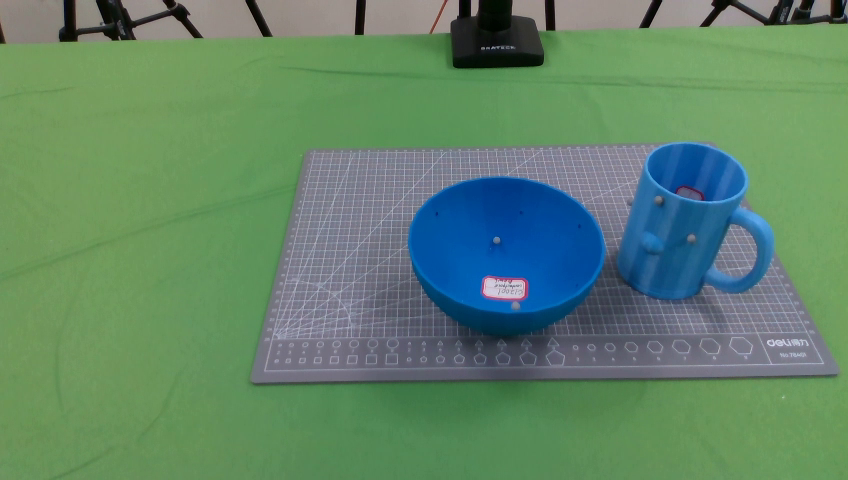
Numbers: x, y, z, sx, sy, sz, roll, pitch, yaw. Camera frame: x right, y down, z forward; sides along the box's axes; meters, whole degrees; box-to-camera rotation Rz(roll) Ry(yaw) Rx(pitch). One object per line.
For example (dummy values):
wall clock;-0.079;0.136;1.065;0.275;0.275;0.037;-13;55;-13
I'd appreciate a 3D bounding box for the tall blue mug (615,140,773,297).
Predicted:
tall blue mug;0.222;-0.012;0.496;0.107;0.109;0.077;13;46;15

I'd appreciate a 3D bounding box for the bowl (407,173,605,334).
bowl;0.062;0.023;0.488;0.151;0.077;0.150;-1;45;1
